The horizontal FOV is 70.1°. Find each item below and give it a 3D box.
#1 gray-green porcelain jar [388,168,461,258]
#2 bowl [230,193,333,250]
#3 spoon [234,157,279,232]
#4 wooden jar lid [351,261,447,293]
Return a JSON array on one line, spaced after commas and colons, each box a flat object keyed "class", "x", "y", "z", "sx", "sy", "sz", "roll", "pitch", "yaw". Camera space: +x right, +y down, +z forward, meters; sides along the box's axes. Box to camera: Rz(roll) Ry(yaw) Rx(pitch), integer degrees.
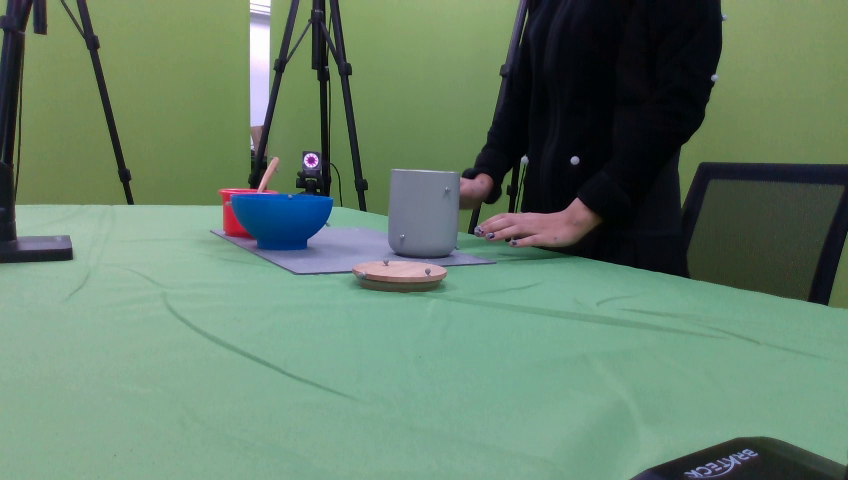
[{"class": "gray-green porcelain jar", "x": 0.000, "y": -0.041, "z": 0.897, "sx": 0.106, "sy": 0.126, "sz": 0.106, "roll": 2, "pitch": 7, "yaw": 0}, {"class": "bowl", "x": -0.214, "y": -0.028, "z": 0.912, "sx": 0.151, "sy": 0.077, "sz": 0.151, "roll": 2, "pitch": 8, "yaw": 0}, {"class": "spoon", "x": -0.287, "y": -0.084, "z": 1.066, "sx": 0.041, "sy": 0.021, "sz": 0.193, "roll": 7, "pitch": 52, "yaw": 5}, {"class": "wooden jar lid", "x": -0.028, "y": 0.042, "z": 0.687, "sx": 0.108, "sy": 0.020, "sz": 0.108, "roll": 3, "pitch": 8, "yaw": 0}]
